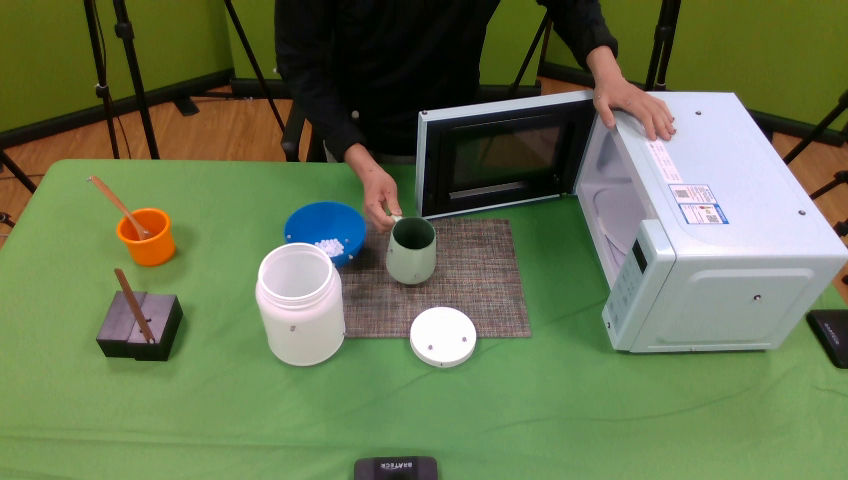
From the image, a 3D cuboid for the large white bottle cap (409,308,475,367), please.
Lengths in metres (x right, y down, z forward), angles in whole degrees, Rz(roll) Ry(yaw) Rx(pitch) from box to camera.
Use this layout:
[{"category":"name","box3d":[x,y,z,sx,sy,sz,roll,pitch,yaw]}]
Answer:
[{"category":"large white bottle cap","box3d":[0.031,0.165,1.041,0.115,0.018,0.114,2,47,-2]}]

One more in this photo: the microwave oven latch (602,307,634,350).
[{"category":"microwave oven latch","box3d":[0.332,0.153,1.044,0.030,0.029,0.078,-1,45,-4]}]

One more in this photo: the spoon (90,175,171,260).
[{"category":"spoon","box3d":[-0.539,-0.042,1.111,0.021,0.194,0.041,-13,27,53]}]

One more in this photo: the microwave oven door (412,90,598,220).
[{"category":"microwave oven door","box3d":[0.156,-0.166,1.199,0.356,0.245,0.039,-10,47,-14]}]

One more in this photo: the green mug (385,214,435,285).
[{"category":"green mug","box3d":[-0.032,0.010,1.104,0.092,0.105,0.124,-22,57,-22]}]

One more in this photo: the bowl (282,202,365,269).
[{"category":"bowl","box3d":[-0.186,0.006,1.136,0.151,0.077,0.150,3,46,-3]}]

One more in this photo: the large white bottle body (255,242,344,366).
[{"category":"large white bottle body","box3d":[-0.196,0.102,0.967,0.131,0.185,0.130,2,49,-2]}]

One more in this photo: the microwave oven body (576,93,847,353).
[{"category":"microwave oven body","box3d":[0.475,-0.042,1.109,0.326,0.261,0.438,-1,45,-4]}]

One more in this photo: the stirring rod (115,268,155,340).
[{"category":"stirring rod","box3d":[-0.479,0.103,0.999,0.014,0.006,0.175,7,32,-49]}]
